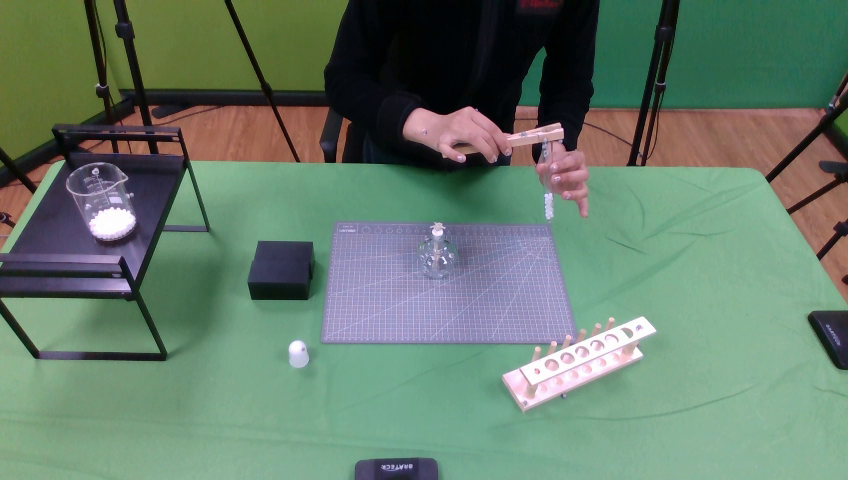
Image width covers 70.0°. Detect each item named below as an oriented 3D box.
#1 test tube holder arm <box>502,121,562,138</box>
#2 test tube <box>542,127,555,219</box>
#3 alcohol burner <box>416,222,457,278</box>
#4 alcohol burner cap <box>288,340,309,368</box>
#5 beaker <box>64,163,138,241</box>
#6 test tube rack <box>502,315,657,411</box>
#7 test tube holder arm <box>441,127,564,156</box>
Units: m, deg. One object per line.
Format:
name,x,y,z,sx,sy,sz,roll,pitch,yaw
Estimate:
test tube holder arm,0.157,-0.156,0.883,0.088,0.015,0.010,-15,37,0
test tube,0.188,-0.098,0.914,0.017,0.151,0.017,-6,31,4
alcohol burner,0.024,0.014,1.116,0.078,0.120,0.077,1,45,-1
alcohol burner cap,-0.206,0.183,0.991,0.034,0.048,0.033,2,47,-2
beaker,-0.477,-0.055,0.910,0.084,0.101,0.073,-9,48,-13
test tube rack,0.253,0.186,0.988,0.242,0.085,0.066,-18,51,-20
test tube holder arm,0.113,-0.144,0.883,0.178,0.015,0.013,-9,37,8
